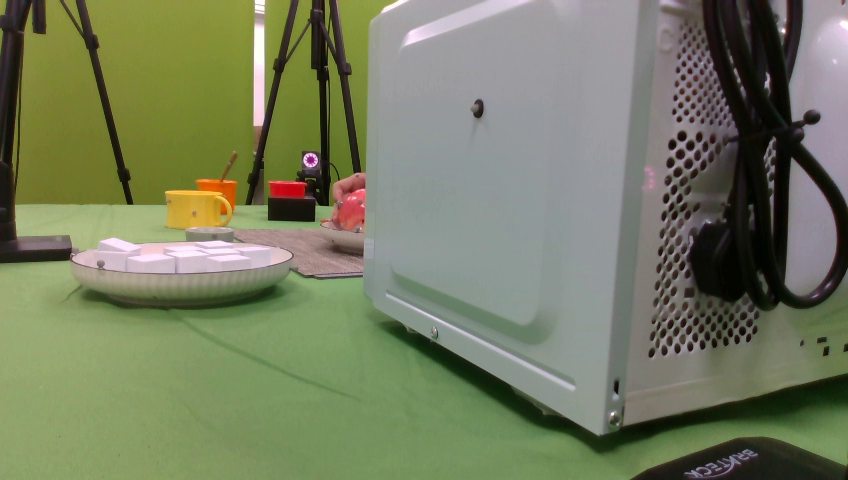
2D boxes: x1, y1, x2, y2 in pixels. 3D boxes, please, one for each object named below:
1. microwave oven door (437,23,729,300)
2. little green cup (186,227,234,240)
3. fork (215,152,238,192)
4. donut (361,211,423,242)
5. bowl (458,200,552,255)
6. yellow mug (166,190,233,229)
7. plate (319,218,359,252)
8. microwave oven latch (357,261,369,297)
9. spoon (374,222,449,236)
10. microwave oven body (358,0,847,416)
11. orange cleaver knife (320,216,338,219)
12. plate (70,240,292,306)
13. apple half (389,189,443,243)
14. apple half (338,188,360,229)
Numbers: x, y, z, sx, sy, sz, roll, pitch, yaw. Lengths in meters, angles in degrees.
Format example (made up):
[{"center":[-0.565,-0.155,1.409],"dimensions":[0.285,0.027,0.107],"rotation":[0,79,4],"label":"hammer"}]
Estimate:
[{"center":[0.181,-0.072,0.621],"dimensions":[0.358,0.243,0.039],"rotation":[-2,8,-29],"label":"microwave oven door"},{"center":[-0.285,0.005,0.805],"dimensions":[0.061,0.038,0.061],"rotation":[2,8,0],"label":"little green cup"},{"center":[-0.455,-0.132,1.367],"dimensions":[0.028,0.018,0.207],"rotation":[-2,-35,-37],"label":"fork"},{"center":[-0.050,-0.022,0.957],"dimensions":[0.099,0.048,0.099],"rotation":[-2,7,1],"label":"donut"},{"center":[0.128,-0.020,0.977],"dimensions":[0.151,0.077,0.151],"rotation":[2,8,0],"label":"bowl"},{"center":[-0.415,-0.057,1.132],"dimensions":[0.130,0.064,0.100],"rotation":[6,8,16],"label":"yellow mug"},{"center":[-0.059,-0.007,0.939],"dimensions":[0.209,0.038,0.209],"rotation":[3,8,0],"label":"plate"},{"center":[-0.019,0.033,0.530],"dimensions":[0.079,0.029,0.030],"rotation":[-1,7,-26],"label":"microwave oven latch"},{"center":[-0.029,-0.025,1.178],"dimensions":[0.193,0.021,0.042],"rotation":[9,26,42],"label":"spoon"},{"center":[0.211,-0.047,0.474],"dimensions":[0.444,0.260,0.324],"rotation":[-1,7,-28],"label":"microwave oven body"},{"center":[-0.142,-0.057,1.394],"dimensions":[0.077,0.012,0.212],"rotation":[2,7,44],"label":"orange cleaver knife"},{"center":[-0.242,0.032,0.618],"dimensions":[0.208,0.039,0.207],"rotation":[2,8,0],"label":"plate"},{"center":[-0.005,-0.039,0.884],"dimensions":[0.081,0.074,0.053],"rotation":[13,-38,-29],"label":"apple half"},{"center":[-0.112,-0.060,0.963],"dimensions":[0.081,0.081,0.033],"rotation":[11,-28,49],"label":"apple half"}]
